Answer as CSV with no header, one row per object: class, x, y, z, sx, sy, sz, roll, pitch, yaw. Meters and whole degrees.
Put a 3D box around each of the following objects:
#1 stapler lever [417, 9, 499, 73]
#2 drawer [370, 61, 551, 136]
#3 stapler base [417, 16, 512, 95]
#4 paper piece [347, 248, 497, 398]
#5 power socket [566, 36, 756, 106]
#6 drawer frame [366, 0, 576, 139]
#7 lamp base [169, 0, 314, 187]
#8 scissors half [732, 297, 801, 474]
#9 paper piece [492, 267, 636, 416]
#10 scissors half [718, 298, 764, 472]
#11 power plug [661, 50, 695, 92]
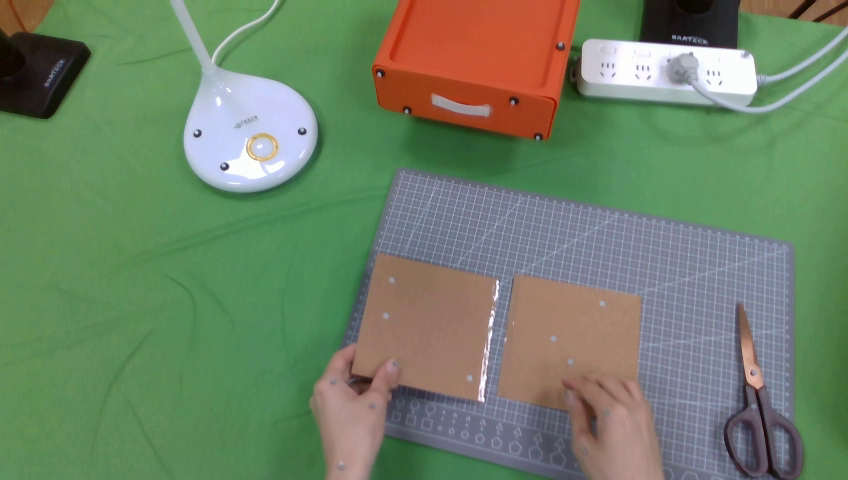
stapler lever,0.036,-0.228,0.684,0.117,0.040,0.027,42,89,23
drawer,0.064,-0.237,0.695,0.194,0.074,0.210,13,65,9
stapler base,0.045,-0.221,0.708,0.129,0.024,0.041,42,89,22
paper piece,0.002,0.081,0.619,0.136,0.009,0.137,13,63,-4
power socket,0.292,-0.210,0.749,0.226,0.033,0.071,6,66,5
drawer frame,0.063,-0.240,0.696,0.201,0.083,0.212,13,65,8
lamp base,-0.225,-0.175,0.670,0.160,0.182,0.178,-40,66,-16
scissors half,0.329,0.137,0.594,0.040,0.013,0.173,-5,63,-1
paper piece,0.146,0.100,0.620,0.135,0.004,0.135,10,65,8
scissors half,0.309,0.136,0.594,0.040,0.013,0.174,13,62,2
power plug,0.297,-0.193,0.716,0.035,0.053,0.072,16,67,9
